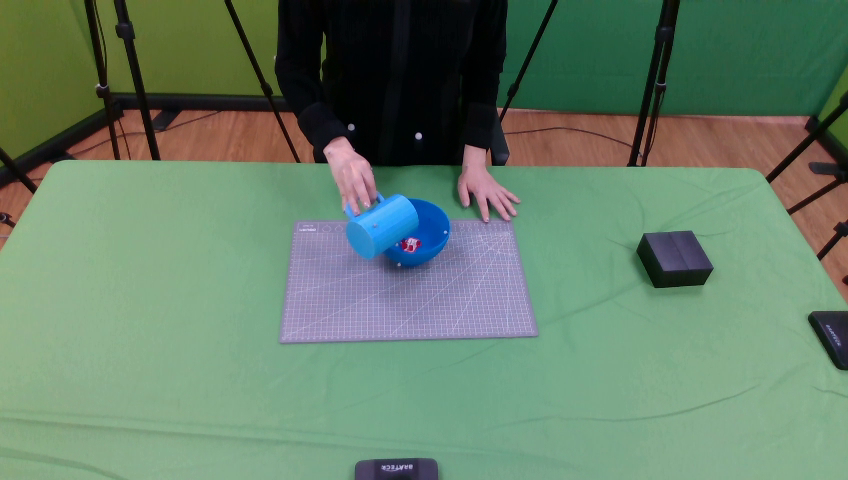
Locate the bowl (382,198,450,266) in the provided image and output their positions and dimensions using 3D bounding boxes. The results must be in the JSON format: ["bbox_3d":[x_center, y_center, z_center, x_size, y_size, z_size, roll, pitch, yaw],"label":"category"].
[{"bbox_3d":[-0.028,-0.003,1.156,0.151,0.077,0.150,2,46,-2],"label":"bowl"}]

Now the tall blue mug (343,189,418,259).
[{"bbox_3d":[-0.082,-0.039,1.059,0.108,0.107,0.077,-35,14,-33],"label":"tall blue mug"}]
